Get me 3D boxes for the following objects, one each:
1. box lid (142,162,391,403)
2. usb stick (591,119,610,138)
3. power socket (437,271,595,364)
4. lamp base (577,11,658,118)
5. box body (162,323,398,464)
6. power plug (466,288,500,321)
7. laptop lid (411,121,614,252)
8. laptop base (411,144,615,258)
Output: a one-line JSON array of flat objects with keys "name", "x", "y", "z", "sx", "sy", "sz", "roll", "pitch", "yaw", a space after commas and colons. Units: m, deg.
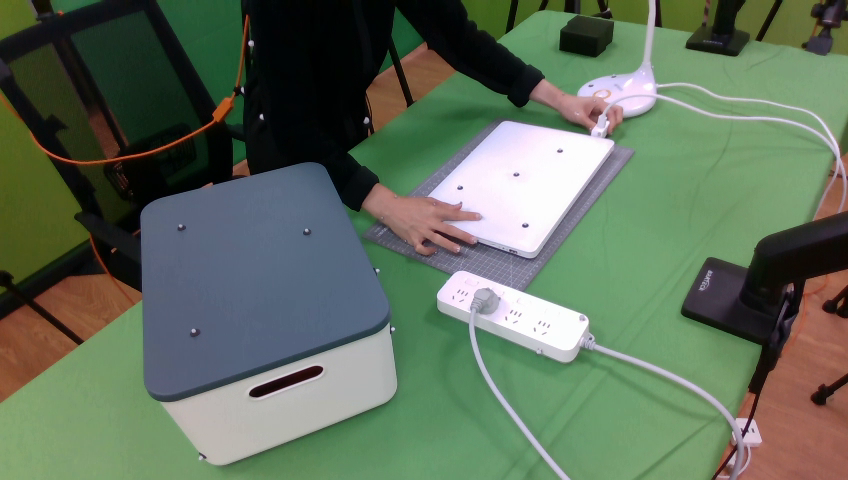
[{"name": "box lid", "x": -0.212, "y": 0.025, "z": 0.752, "sx": 0.264, "sy": 0.015, "sz": 0.368, "roll": -17, "pitch": 41, "yaw": -13}, {"name": "usb stick", "x": 0.334, "y": -0.204, "z": 1.151, "sx": 0.021, "sy": 0.027, "sz": 0.059, "roll": 21, "pitch": 53, "yaw": 25}, {"name": "power socket", "x": 0.118, "y": 0.102, "z": 0.830, "sx": 0.225, "sy": 0.033, "sz": 0.072, "roll": 20, "pitch": 48, "yaw": 28}, {"name": "lamp base", "x": 0.406, "y": -0.363, "z": 1.222, "sx": 0.180, "sy": 0.181, "sz": 0.159, "roll": -20, "pitch": 42, "yaw": -18}, {"name": "box body", "x": -0.205, "y": 0.080, "z": 0.802, "sx": 0.255, "sy": 0.161, "sz": 0.361, "roll": -18, "pitch": 41, "yaw": -13}, {"name": "power plug", "x": 0.072, "y": 0.093, "z": 0.813, "sx": 0.073, "sy": 0.053, "sz": 0.035, "roll": -37, "pitch": 49, "yaw": -28}, {"name": "laptop lid", "x": 0.164, "y": -0.112, "z": 1.068, "sx": 0.240, "sy": 0.013, "sz": 0.357, "roll": 19, "pitch": 46, "yaw": 30}, {"name": "laptop base", "x": 0.167, "y": -0.102, "z": 1.074, "sx": 0.234, "sy": 0.023, "sz": 0.355, "roll": 16, "pitch": 45, "yaw": 30}]
